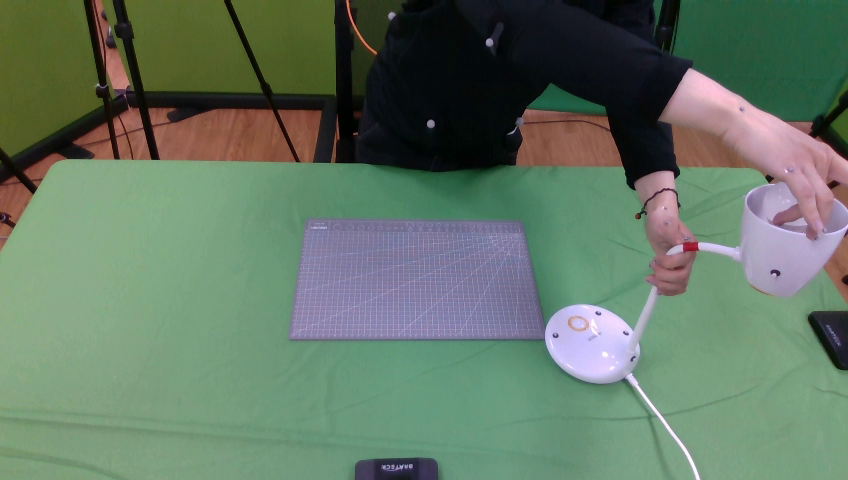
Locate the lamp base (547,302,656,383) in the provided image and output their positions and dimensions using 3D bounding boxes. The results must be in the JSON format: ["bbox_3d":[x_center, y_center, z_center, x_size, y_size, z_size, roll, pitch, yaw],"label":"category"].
[{"bbox_3d":[0.304,0.127,0.982,0.160,0.181,0.178,-33,59,-29],"label":"lamp base"}]

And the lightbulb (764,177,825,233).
[{"bbox_3d":[0.429,-0.022,0.708,0.059,0.108,0.059,-7,30,4],"label":"lightbulb"}]

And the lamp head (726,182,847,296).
[{"bbox_3d":[0.429,0.006,0.726,0.112,0.123,0.111,1,39,0],"label":"lamp head"}]
